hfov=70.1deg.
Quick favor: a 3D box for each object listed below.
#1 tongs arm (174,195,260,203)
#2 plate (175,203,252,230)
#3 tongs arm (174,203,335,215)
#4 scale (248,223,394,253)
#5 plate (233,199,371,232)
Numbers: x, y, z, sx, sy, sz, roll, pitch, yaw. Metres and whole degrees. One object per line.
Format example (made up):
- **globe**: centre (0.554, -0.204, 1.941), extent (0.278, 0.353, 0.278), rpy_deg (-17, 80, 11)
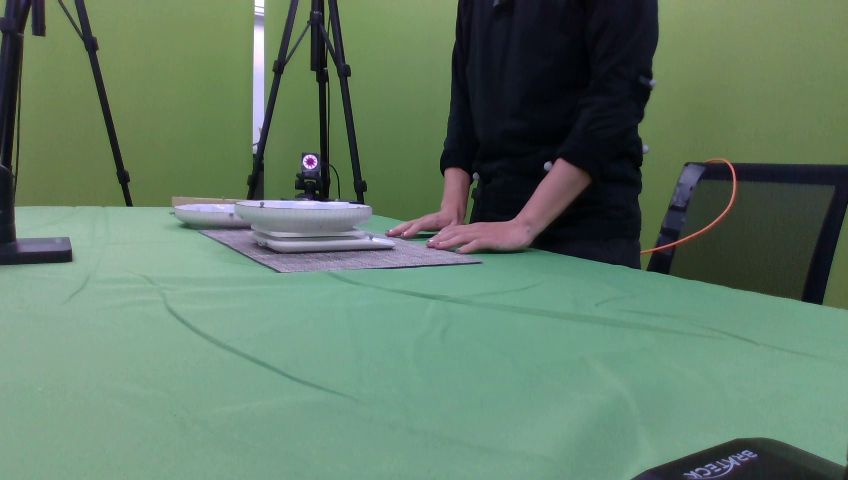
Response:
- **tongs arm**: centre (-0.418, -0.088, 1.508), extent (0.386, 0.026, 0.050), rpy_deg (2, 7, -18)
- **plate**: centre (-0.381, -0.047, 1.199), extent (0.208, 0.039, 0.207), rpy_deg (3, 7, 0)
- **tongs arm**: centre (-0.384, -0.073, 1.428), extent (0.390, 0.028, 0.028), rpy_deg (-1, 5, -33)
- **scale**: centre (-0.162, -0.006, 0.954), extent (0.202, 0.031, 0.148), rpy_deg (-2, 8, -32)
- **plate**: centre (-0.188, -0.039, 0.939), extent (0.209, 0.038, 0.209), rpy_deg (2, 7, 0)
